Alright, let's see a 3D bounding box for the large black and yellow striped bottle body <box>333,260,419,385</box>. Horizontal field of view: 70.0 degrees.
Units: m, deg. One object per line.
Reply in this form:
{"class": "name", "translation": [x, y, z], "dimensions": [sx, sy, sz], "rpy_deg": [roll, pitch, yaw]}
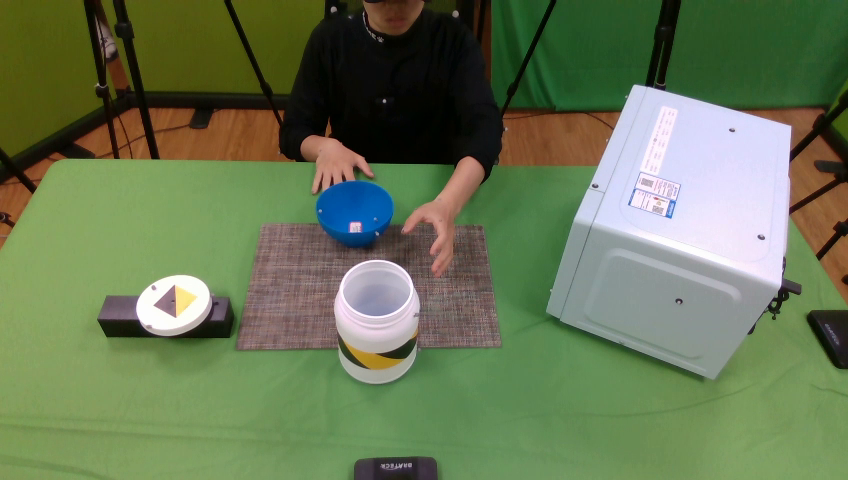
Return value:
{"class": "large black and yellow striped bottle body", "translation": [-0.074, 0.129, 0.950], "dimensions": [0.131, 0.185, 0.130], "rpy_deg": [2, 49, -2]}

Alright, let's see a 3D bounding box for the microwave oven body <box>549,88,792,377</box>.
{"class": "microwave oven body", "translation": [0.456, -0.028, 1.088], "dimensions": [0.325, 0.261, 0.440], "rpy_deg": [20, 47, 16]}

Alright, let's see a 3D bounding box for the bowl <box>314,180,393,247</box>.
{"class": "bowl", "translation": [-0.135, -0.039, 1.180], "dimensions": [0.151, 0.077, 0.150], "rpy_deg": [3, 46, -2]}

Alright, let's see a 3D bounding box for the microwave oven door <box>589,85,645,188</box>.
{"class": "microwave oven door", "translation": [0.341, -0.107, 1.149], "dimensions": [0.039, 0.245, 0.354], "rpy_deg": [20, 48, 15]}

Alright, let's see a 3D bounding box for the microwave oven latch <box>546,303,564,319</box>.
{"class": "microwave oven latch", "translation": [0.242, 0.102, 1.081], "dimensions": [0.030, 0.029, 0.079], "rpy_deg": [21, 48, 17]}

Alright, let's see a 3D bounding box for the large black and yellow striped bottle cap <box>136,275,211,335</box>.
{"class": "large black and yellow striped bottle cap", "translation": [-0.412, 0.105, 0.999], "dimensions": [0.115, 0.019, 0.114], "rpy_deg": [3, 46, -3]}
